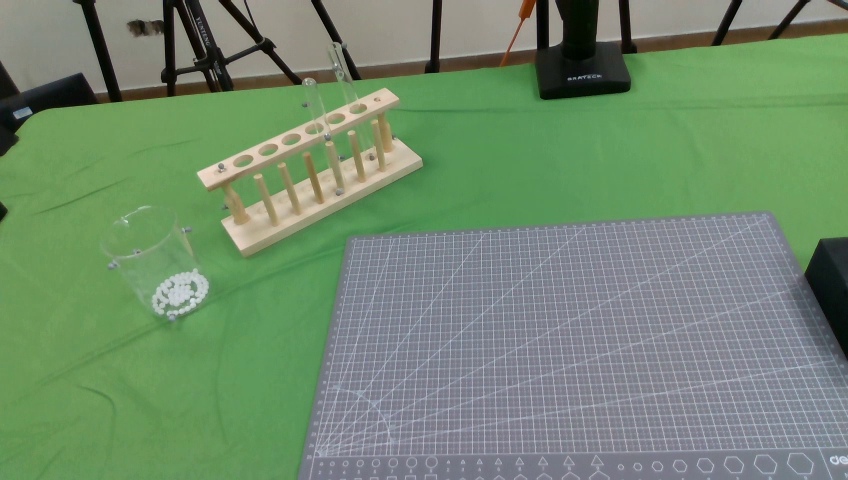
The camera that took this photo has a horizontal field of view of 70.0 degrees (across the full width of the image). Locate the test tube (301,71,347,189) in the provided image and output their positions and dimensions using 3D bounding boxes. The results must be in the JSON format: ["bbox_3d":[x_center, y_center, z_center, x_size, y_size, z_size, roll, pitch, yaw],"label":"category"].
[{"bbox_3d":[-0.109,-0.118,0.670,0.017,0.152,0.017,-6,44,6],"label":"test tube"}]

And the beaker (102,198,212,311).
[{"bbox_3d":[-0.269,0.017,0.619,0.083,0.101,0.074,29,57,33],"label":"beaker"}]

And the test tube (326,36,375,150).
[{"bbox_3d":[-0.084,-0.166,0.706,0.017,0.152,0.017,-8,46,9],"label":"test tube"}]

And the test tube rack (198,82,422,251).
[{"bbox_3d":[-0.125,-0.090,0.708,0.242,0.086,0.066,-29,48,-18],"label":"test tube rack"}]
